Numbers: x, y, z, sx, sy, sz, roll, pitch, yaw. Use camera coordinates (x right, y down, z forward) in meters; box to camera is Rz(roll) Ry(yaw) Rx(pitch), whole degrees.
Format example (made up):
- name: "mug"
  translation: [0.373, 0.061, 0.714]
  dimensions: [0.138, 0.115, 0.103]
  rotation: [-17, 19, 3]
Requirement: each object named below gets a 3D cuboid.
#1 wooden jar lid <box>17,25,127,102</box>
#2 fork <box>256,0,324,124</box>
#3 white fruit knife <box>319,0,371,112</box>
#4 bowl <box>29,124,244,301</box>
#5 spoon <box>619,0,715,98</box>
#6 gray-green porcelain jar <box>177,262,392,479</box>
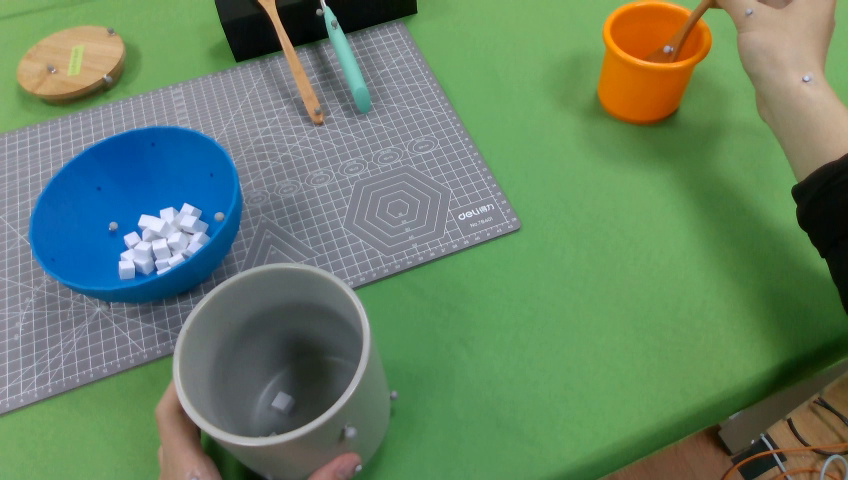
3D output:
- name: "wooden jar lid"
  translation: [-0.363, -0.183, 0.632]
  dimensions: [0.108, 0.021, 0.107]
  rotation: [0, 57, 1]
- name: "fork"
  translation: [-0.140, -0.204, 0.594]
  dimensions: [0.028, 0.019, 0.206]
  rotation: [-21, 77, -16]
- name: "white fruit knife"
  translation: [-0.094, -0.218, 0.602]
  dimensions: [0.016, 0.027, 0.206]
  rotation: [-20, 72, -11]
- name: "bowl"
  translation: [-0.206, -0.009, 0.471]
  dimensions: [0.151, 0.077, 0.150]
  rotation: [-1, 57, 3]
- name: "spoon"
  translation: [0.234, -0.192, 0.507]
  dimensions: [0.022, 0.194, 0.041]
  rotation: [11, 52, -22]
- name: "gray-green porcelain jar"
  translation: [-0.076, 0.090, 0.374]
  dimensions: [0.106, 0.127, 0.105]
  rotation: [-2, 56, 3]
